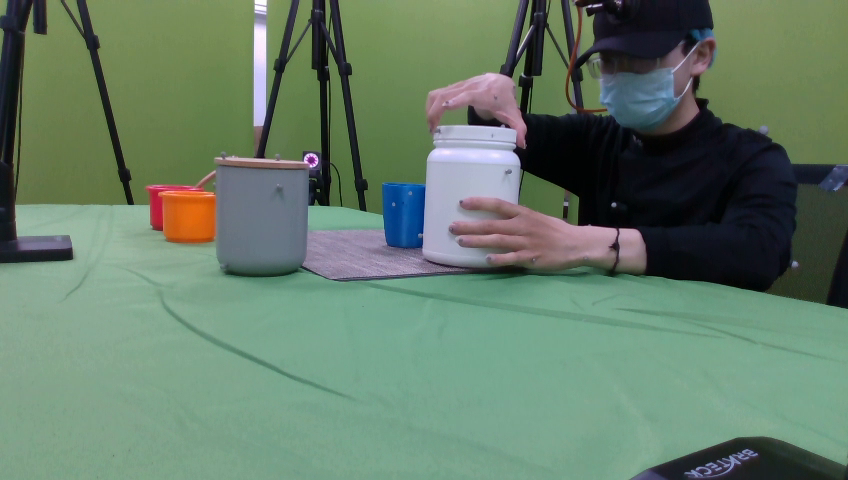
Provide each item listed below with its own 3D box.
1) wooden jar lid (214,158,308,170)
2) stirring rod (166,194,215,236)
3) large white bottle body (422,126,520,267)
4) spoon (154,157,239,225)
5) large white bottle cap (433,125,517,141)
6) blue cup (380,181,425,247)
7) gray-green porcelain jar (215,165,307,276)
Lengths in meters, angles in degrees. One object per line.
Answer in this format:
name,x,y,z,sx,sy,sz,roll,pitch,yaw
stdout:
wooden jar lid,-0.193,-0.085,0.719,0.108,0.020,0.108,2,9,0
stirring rod,-0.341,-0.066,0.967,0.176,0.006,0.014,-42,23,-9
large white bottle body,0.066,-0.062,0.838,0.131,0.184,0.130,2,7,0
spoon,-0.411,-0.092,1.104,0.041,0.022,0.194,13,56,51
large white bottle cap,0.070,-0.145,0.827,0.115,0.018,0.115,3,8,0
blue cup,-0.029,-0.042,0.979,0.093,0.100,0.092,2,9,0
gray-green porcelain jar,-0.195,-0.024,0.726,0.106,0.126,0.106,3,7,0
